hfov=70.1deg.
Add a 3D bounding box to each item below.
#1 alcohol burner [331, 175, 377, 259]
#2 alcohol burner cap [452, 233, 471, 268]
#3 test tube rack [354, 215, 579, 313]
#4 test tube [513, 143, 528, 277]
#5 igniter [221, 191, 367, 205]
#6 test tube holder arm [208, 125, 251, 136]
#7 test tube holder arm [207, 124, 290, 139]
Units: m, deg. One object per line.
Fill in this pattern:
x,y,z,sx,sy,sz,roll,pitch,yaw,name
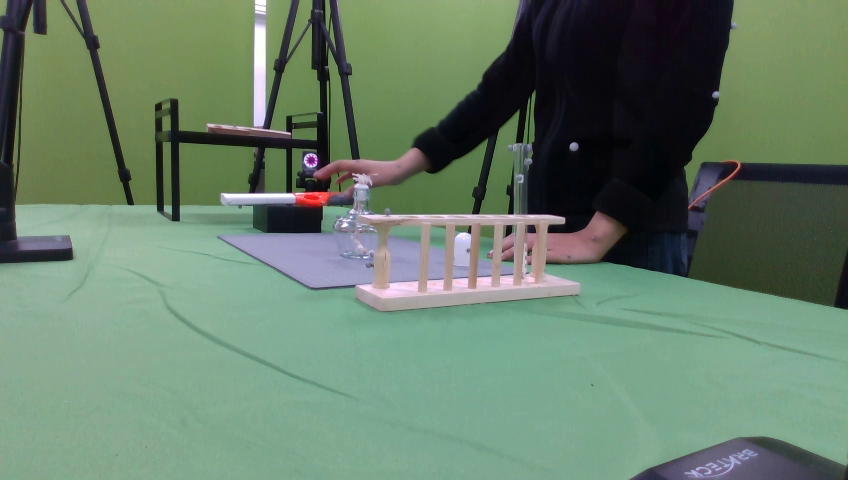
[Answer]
-0.091,-0.033,0.855,0.078,0.119,0.078,4,7,0,alcohol burner
0.053,0.014,0.823,0.034,0.048,0.034,3,7,0,alcohol burner cap
0.053,0.019,0.635,0.243,0.085,0.066,-1,8,-29,test tube rack
0.108,-0.033,0.677,0.017,0.150,0.017,-1,8,1,test tube
-0.239,-0.078,1.149,0.278,0.025,0.057,-3,20,-31,igniter
-0.418,-0.234,1.299,0.088,0.015,0.010,1,41,-31,test tube holder arm
-0.381,-0.237,1.327,0.179,0.015,0.013,0,42,-32,test tube holder arm
